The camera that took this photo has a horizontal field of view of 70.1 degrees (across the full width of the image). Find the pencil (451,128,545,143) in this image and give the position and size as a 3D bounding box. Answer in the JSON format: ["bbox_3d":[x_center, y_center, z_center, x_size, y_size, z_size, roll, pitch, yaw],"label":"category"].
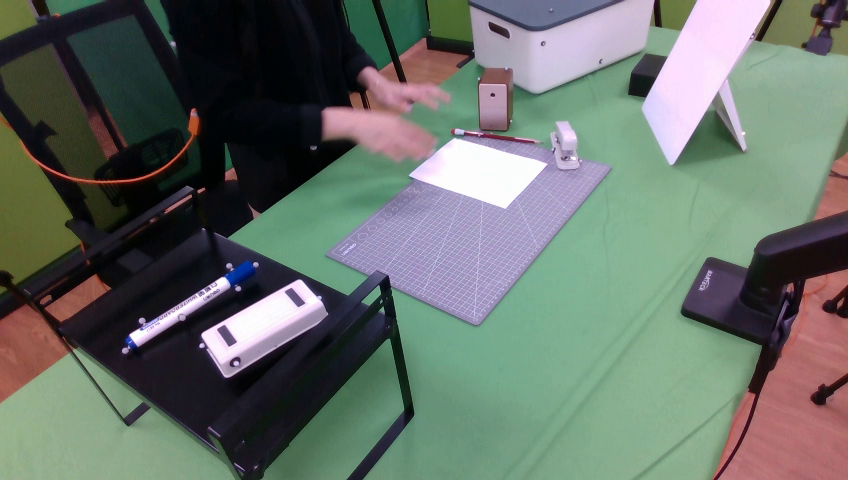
[{"bbox_3d":[0.145,-0.207,1.205,0.193,0.012,0.012,11,44,20],"label":"pencil"}]

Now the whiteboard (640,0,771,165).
[{"bbox_3d":[0.543,-0.299,1.076,0.144,0.305,0.216,12,40,-7],"label":"whiteboard"}]

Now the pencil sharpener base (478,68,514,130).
[{"bbox_3d":[0.148,-0.286,1.225,0.061,0.107,0.076,5,41,15],"label":"pencil sharpener base"}]

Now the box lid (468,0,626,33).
[{"bbox_3d":[0.312,-0.555,1.357,0.373,0.015,0.261,-27,44,-20],"label":"box lid"}]

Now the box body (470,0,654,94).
[{"bbox_3d":[0.319,-0.498,1.405,0.365,0.161,0.252,-26,43,-21],"label":"box body"}]

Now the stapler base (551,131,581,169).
[{"bbox_3d":[0.268,-0.178,1.142,0.041,0.024,0.130,0,37,3],"label":"stapler base"}]

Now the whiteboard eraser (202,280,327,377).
[{"bbox_3d":[-0.156,0.088,0.600,0.113,0.042,0.055,-30,47,-24],"label":"whiteboard eraser"}]

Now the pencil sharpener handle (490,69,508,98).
[{"bbox_3d":[0.154,-0.330,1.254,0.036,0.068,0.030,20,43,0],"label":"pencil sharpener handle"}]

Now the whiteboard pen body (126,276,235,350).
[{"bbox_3d":[-0.251,0.070,0.649,0.141,0.017,0.017,-36,48,-25],"label":"whiteboard pen body"}]

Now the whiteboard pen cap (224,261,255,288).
[{"bbox_3d":[-0.207,0.039,0.677,0.033,0.018,0.018,-36,47,-18],"label":"whiteboard pen cap"}]

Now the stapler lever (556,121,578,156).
[{"bbox_3d":[0.266,-0.198,1.128,0.027,0.040,0.117,0,38,3],"label":"stapler lever"}]
